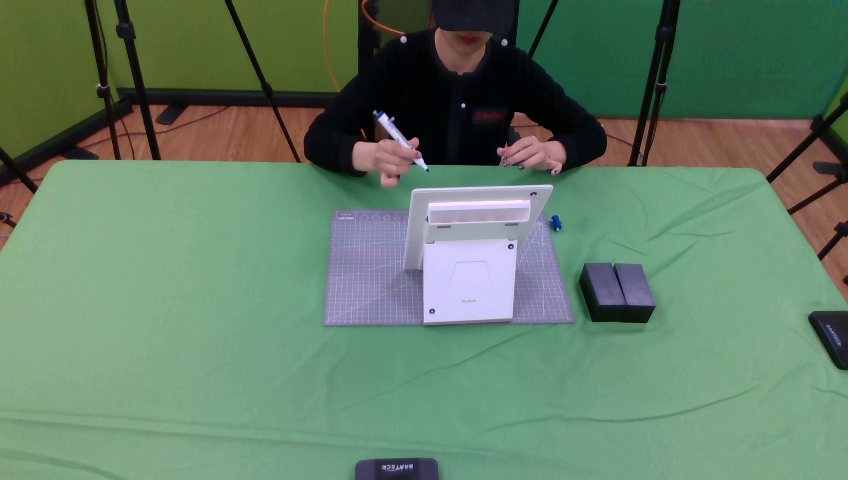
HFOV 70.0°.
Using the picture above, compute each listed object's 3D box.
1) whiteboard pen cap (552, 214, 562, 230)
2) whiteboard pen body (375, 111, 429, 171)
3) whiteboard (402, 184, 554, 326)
[{"bbox_3d":[0.276,-0.037,1.260,0.018,0.018,0.033,1,44,-2],"label":"whiteboard pen cap"},{"bbox_3d":[-0.037,-0.174,1.084,0.017,0.141,0.017,-36,23,18],"label":"whiteboard pen body"},{"bbox_3d":[0.081,0.044,1.005,0.217,0.306,0.143,-1,66,-6],"label":"whiteboard"}]
